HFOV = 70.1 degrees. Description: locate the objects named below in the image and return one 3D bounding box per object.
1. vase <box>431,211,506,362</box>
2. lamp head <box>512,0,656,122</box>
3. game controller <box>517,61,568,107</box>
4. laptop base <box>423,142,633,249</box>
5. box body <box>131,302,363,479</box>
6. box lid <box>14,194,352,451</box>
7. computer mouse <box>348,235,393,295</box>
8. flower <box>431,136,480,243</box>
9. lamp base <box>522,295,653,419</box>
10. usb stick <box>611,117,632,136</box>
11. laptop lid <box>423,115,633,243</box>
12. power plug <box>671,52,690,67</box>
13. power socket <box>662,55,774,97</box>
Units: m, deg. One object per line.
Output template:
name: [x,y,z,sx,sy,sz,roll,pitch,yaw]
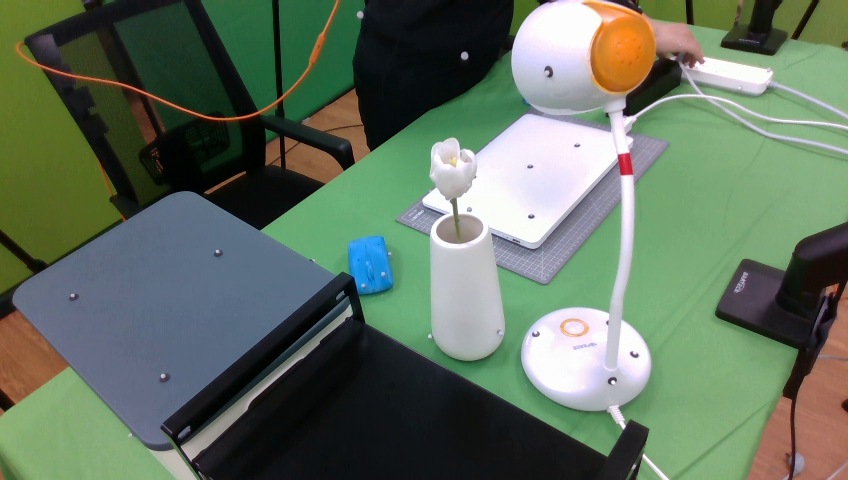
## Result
vase: [0.055,0.062,0.757,0.098,0.201,0.097,-3,40,3]
lamp head: [0.156,-0.168,0.563,0.113,0.113,0.122,-18,23,-12]
game controller: [0.261,-0.352,1.335,0.097,0.052,0.154,-3,41,2]
laptop base: [0.194,-0.116,1.087,0.233,0.023,0.355,21,48,34]
box body: [-0.284,0.123,0.766,0.361,0.161,0.255,25,49,33]
box lid: [-0.291,0.067,0.717,0.368,0.015,0.264,25,50,33]
computer mouse: [-0.085,0.034,0.936,0.063,0.041,0.116,-8,45,-5]
flower: [0.043,0.011,0.691,0.044,0.363,0.038,15,62,14]
lamp base: [0.201,0.095,0.709,0.161,0.181,0.178,-16,43,-10]
usb stick: [0.371,-0.208,1.147,0.021,0.027,0.059,28,56,31]
laptop lid: [0.191,-0.126,1.081,0.239,0.013,0.358,23,49,35]
power plug: [0.543,-0.377,1.303,0.073,0.053,0.035,-32,51,-19]
power socket: [0.621,-0.352,1.288,0.225,0.033,0.072,26,51,33]
